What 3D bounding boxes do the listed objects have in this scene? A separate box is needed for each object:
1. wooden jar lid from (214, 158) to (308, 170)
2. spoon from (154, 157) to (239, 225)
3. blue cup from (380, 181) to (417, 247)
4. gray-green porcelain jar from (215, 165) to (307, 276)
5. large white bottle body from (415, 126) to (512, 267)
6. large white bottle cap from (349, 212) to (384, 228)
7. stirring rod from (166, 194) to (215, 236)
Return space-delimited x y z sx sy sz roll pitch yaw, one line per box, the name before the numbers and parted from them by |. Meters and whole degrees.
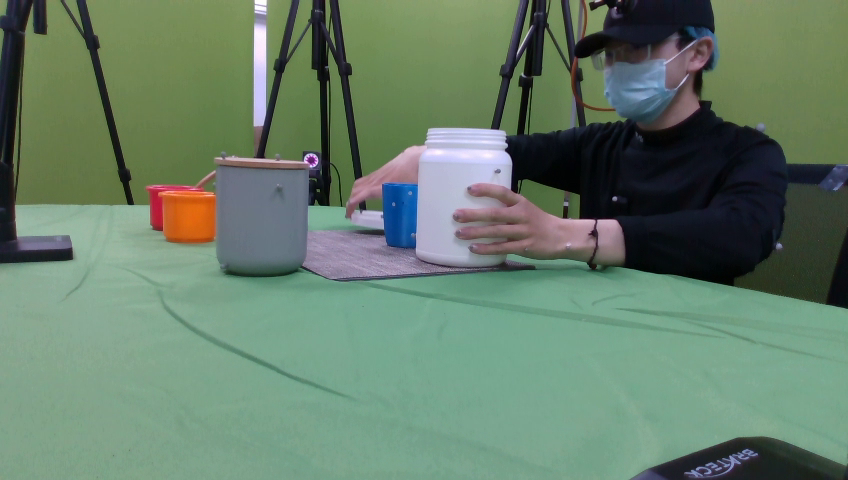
wooden jar lid | -0.193 -0.085 0.719 0.108 0.020 0.108 2 9 0
spoon | -0.411 -0.092 1.105 0.041 0.022 0.194 13 56 51
blue cup | -0.028 -0.042 0.980 0.093 0.100 0.092 1 9 0
gray-green porcelain jar | -0.195 -0.024 0.726 0.106 0.126 0.106 3 7 0
large white bottle body | 0.055 -0.063 0.842 0.131 0.184 0.130 2 8 0
large white bottle cap | -0.085 -0.038 1.158 0.115 0.018 0.115 5 9 0
stirring rod | -0.341 -0.066 0.967 0.176 0.006 0.014 -42 23 -9
